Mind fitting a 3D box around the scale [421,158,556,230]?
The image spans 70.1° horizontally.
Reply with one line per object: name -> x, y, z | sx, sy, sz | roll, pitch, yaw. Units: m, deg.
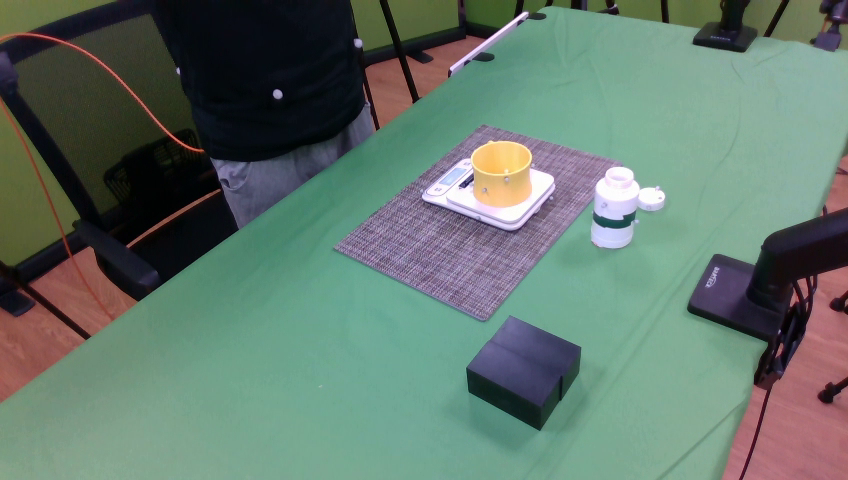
scale -> 0.110, -0.089, 1.042 | 0.199, 0.032, 0.149 | 23, 48, 31

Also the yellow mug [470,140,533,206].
yellow mug -> 0.125, -0.121, 1.004 | 0.100, 0.064, 0.130 | -13, 40, -5

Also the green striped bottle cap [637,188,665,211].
green striped bottle cap -> 0.374, -0.067, 0.998 | 0.044, 0.020, 0.044 | -7, 39, 6

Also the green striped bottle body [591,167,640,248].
green striped bottle body -> 0.288, -0.050, 0.910 | 0.063, 0.120, 0.063 | -4, 41, 4
